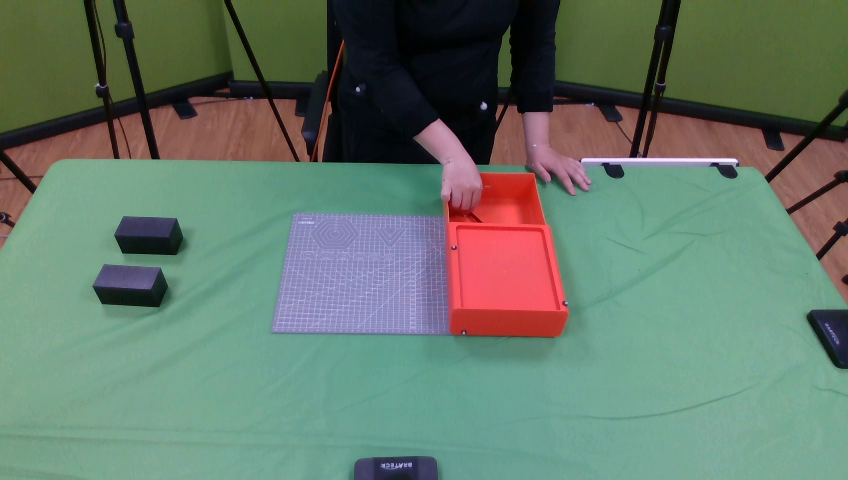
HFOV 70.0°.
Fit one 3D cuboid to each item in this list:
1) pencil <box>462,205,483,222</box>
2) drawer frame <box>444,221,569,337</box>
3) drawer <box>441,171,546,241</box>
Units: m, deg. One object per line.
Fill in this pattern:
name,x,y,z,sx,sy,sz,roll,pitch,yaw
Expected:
pencil,0.133,-0.019,1.220,0.012,0.012,0.193,-23,48,-25
drawer frame,0.141,0.066,1.097,0.202,0.083,0.212,2,46,-4
drawer,0.137,-0.047,1.215,0.195,0.073,0.210,2,43,-4
